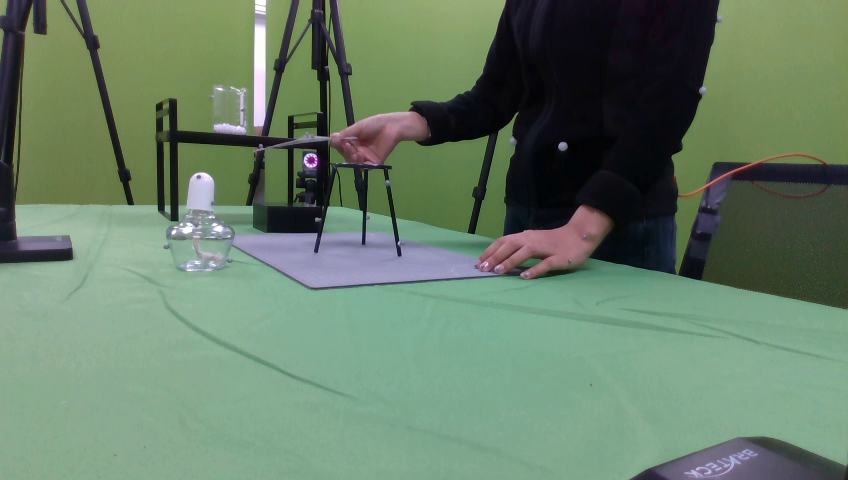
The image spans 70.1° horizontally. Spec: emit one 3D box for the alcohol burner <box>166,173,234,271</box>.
[{"bbox_3d":[-0.271,-0.022,0.735,0.078,0.119,0.078,2,5,0],"label":"alcohol burner"}]

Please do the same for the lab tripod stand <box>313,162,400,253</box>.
[{"bbox_3d":[-0.097,-0.051,0.906,0.148,0.131,0.148,1,6,0],"label":"lab tripod stand"}]

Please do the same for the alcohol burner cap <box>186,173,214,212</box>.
[{"bbox_3d":[-0.268,-0.057,0.730,0.034,0.048,0.034,5,2,0],"label":"alcohol burner cap"}]

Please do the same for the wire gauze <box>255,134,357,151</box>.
[{"bbox_3d":[-0.197,-0.165,1.003,0.121,0.011,0.125,2,17,40],"label":"wire gauze"}]

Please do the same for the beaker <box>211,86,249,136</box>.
[{"bbox_3d":[-0.413,-0.274,1.297,0.074,0.100,0.083,-5,11,-44],"label":"beaker"}]
